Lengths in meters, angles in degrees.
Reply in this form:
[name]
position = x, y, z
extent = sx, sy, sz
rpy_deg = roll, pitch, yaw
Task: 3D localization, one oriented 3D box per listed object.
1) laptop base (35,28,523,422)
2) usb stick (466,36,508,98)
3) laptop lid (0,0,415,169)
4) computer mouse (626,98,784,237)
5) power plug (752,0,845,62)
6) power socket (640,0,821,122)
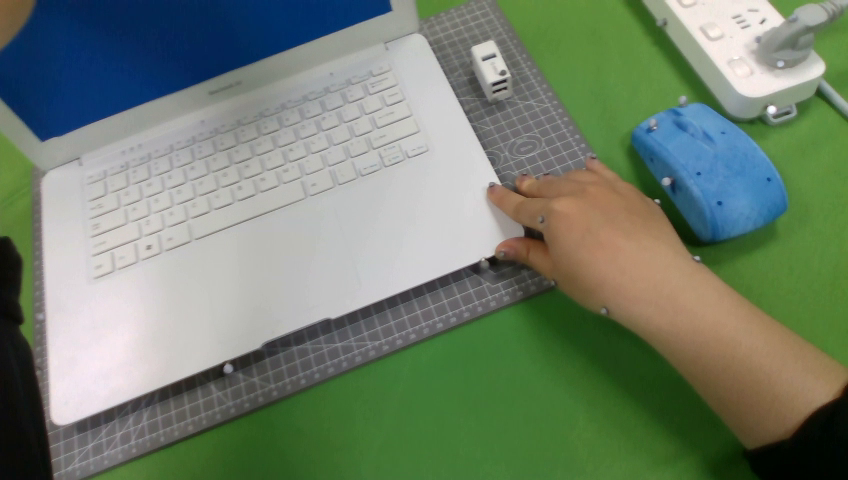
[laptop base]
position = -0.128, -0.029, 0.479
extent = 0.354, 0.023, 0.233
rpy_deg = -22, 64, -3
[usb stick]
position = 0.051, -0.150, 0.509
extent = 0.021, 0.027, 0.058
rpy_deg = -19, 58, 0
[laptop lid]
position = -0.192, -0.190, 0.441
extent = 0.357, 0.244, 0.013
rpy_deg = -23, 53, -1
[computer mouse]
position = 0.197, -0.058, 0.431
extent = 0.063, 0.041, 0.116
rpy_deg = -22, 56, 0
[power plug]
position = 0.280, -0.150, 0.445
extent = 0.072, 0.053, 0.035
rpy_deg = -10, 63, 3
[power socket]
position = 0.234, -0.191, 0.499
extent = 0.072, 0.033, 0.224
rpy_deg = -19, 60, 0
